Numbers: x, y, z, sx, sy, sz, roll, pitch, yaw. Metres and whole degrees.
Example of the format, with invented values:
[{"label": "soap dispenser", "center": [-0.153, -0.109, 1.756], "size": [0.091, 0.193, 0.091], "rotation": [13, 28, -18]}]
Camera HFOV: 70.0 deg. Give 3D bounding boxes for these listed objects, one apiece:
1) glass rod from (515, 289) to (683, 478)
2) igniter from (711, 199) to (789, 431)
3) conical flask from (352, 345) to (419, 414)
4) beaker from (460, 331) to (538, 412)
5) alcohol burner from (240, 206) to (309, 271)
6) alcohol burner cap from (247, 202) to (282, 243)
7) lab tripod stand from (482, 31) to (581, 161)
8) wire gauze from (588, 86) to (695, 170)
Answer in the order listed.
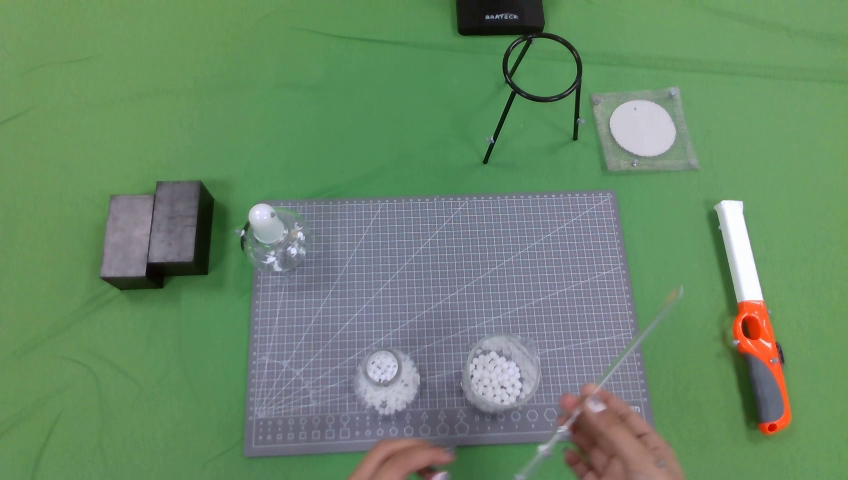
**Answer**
[{"label": "glass rod", "center": [0.141, 0.111, 0.478], "size": [0.008, 0.008, 0.199], "rotation": [43, 80, 12]}, {"label": "igniter", "center": [0.382, 0.081, 0.713], "size": [0.057, 0.025, 0.274], "rotation": [2, 70, -13]}, {"label": "conical flask", "center": [-0.042, 0.138, 0.625], "size": [0.075, 0.122, 0.075], "rotation": [0, 70, -1]}, {"label": "beaker", "center": [0.077, 0.141, 0.641], "size": [0.073, 0.101, 0.084], "rotation": [43, 74, 13]}, {"label": "alcohol burner", "center": [-0.171, -0.008, 0.676], "size": [0.078, 0.120, 0.077], "rotation": [0, 71, 1]}, {"label": "alcohol burner cap", "center": [-0.171, -0.022, 0.643], "size": [0.034, 0.048, 0.033], "rotation": [2, 62, -3]}, {"label": "lab tripod stand", "center": [0.128, -0.171, 0.736], "size": [0.148, 0.132, 0.147], "rotation": [1, 72, -2]}, {"label": "wire gauze", "center": [0.287, -0.147, 0.800], "size": [0.125, 0.011, 0.120], "rotation": [-3, 71, -5]}]
